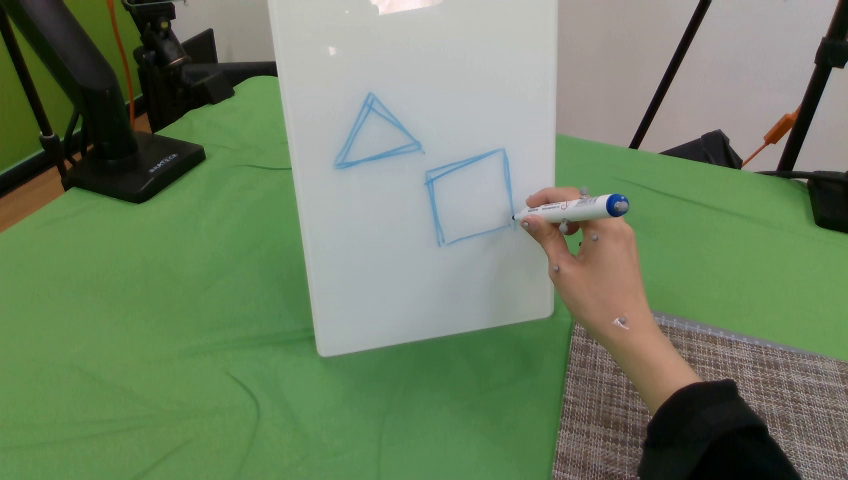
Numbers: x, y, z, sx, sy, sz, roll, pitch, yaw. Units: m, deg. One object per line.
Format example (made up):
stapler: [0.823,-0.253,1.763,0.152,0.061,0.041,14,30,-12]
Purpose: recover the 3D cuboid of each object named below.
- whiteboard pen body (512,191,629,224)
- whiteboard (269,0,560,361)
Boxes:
whiteboard pen body: [0.100,-0.022,0.448,0.017,0.017,0.140,-16,4,-21]
whiteboard: [-0.008,-0.078,0.542,0.218,0.307,0.142,-8,20,-12]
